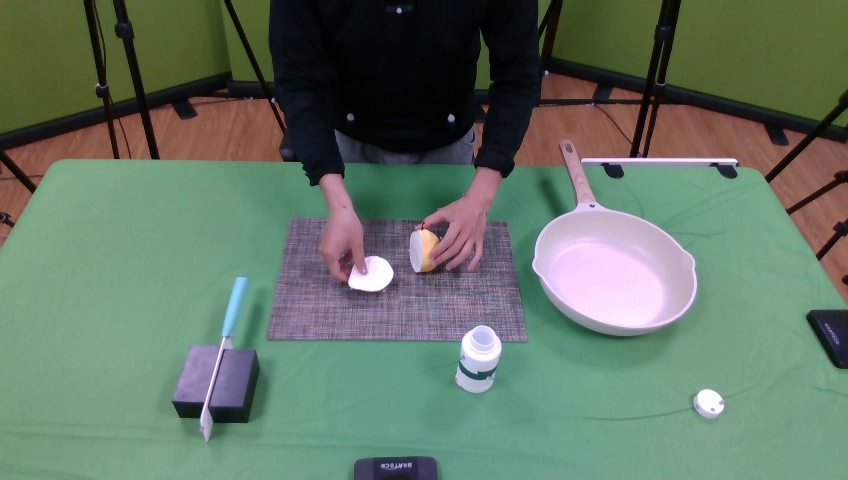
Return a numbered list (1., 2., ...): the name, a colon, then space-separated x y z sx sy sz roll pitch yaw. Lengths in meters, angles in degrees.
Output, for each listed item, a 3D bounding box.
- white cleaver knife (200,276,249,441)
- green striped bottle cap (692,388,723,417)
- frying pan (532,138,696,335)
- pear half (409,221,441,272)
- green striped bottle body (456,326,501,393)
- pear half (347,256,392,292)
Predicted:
1. white cleaver knife: -0.321 0.177 0.972 0.021 0.066 0.284 6 48 -5
2. green striped bottle cap: 0.460 0.263 0.984 0.044 0.020 0.044 3 47 -3
3. frying pan: 0.336 -0.024 1.190 0.307 0.103 0.484 -2 55 -7
4. pear half: 0.005 0.005 1.123 0.056 0.110 0.076 -14 48 -18
5. green striped bottle body: 0.086 0.185 0.959 0.063 0.120 0.063 2 46 -2
6. pear half: -0.102 0.068 1.102 0.088 0.031 0.070 -29 63 -26
